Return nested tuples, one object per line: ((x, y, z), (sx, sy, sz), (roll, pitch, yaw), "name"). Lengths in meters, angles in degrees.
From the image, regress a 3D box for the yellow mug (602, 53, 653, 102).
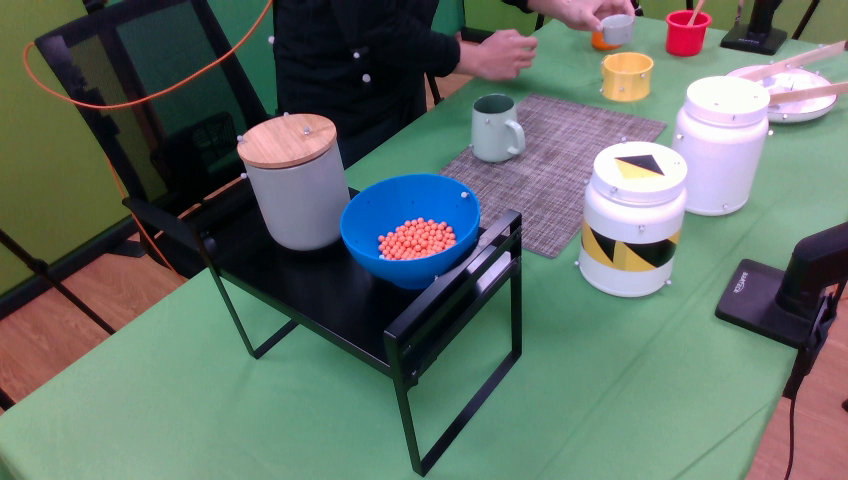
((0.424, -0.354, 1.293), (0.100, 0.064, 0.129), (-23, 42, -16), "yellow mug")

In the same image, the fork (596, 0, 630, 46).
((0.481, -0.556, 1.452), (0.028, 0.019, 0.207), (40, 103, 38), "fork")

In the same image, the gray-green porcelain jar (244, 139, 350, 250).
((-0.144, -0.060, 0.714), (0.106, 0.127, 0.105), (-4, 41, 4), "gray-green porcelain jar")

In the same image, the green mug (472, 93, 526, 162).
((0.144, -0.202, 1.122), (0.093, 0.105, 0.124), (-29, 45, -23), "green mug")

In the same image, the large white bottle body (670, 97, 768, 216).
((0.458, -0.146, 0.952), (0.130, 0.185, 0.130), (-4, 40, 4), "large white bottle body")

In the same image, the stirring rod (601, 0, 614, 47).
((0.439, -0.552, 1.463), (0.014, 0.006, 0.175), (-7, 83, 3), "stirring rod")

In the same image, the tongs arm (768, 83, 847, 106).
((0.738, -0.282, 1.134), (0.388, 0.028, 0.028), (-9, 47, -5), "tongs arm")

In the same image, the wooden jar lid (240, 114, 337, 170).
((-0.149, -0.106, 0.674), (0.108, 0.021, 0.108), (-6, 39, 5), "wooden jar lid")

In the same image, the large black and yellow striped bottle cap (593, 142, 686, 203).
((0.280, -0.090, 0.786), (0.115, 0.019, 0.114), (-5, 41, 5), "large black and yellow striped bottle cap")

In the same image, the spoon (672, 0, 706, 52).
((0.629, -0.520, 1.394), (0.041, 0.022, 0.193), (29, 96, 34), "spoon")

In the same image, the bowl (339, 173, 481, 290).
((-0.011, 0.001, 0.660), (0.151, 0.077, 0.150), (-5, 40, 5), "bowl")

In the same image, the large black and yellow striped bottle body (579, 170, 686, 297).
((0.287, -0.027, 0.841), (0.131, 0.185, 0.130), (-4, 40, 4), "large black and yellow striped bottle body")

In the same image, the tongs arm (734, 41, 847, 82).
((0.712, -0.332, 1.194), (0.386, 0.026, 0.050), (-18, 45, -16), "tongs arm")

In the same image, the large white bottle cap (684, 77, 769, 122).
((0.448, -0.209, 0.898), (0.115, 0.018, 0.114), (-4, 40, 4), "large white bottle cap")

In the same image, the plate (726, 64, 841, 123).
((0.695, -0.282, 1.189), (0.207, 0.039, 0.206), (-4, 40, 4), "plate")

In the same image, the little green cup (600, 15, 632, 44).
((0.378, -0.414, 1.191), (0.061, 0.039, 0.061), (-9, 36, 7), "little green cup")
